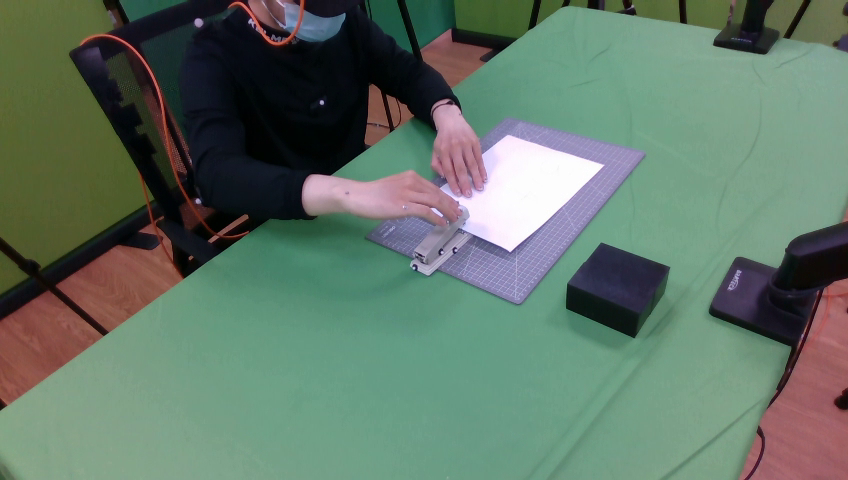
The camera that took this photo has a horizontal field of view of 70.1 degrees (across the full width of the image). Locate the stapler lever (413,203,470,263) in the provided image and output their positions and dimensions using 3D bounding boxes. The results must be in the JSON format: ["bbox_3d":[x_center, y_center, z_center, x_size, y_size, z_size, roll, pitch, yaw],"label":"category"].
[{"bbox_3d":[0.029,-0.013,0.938,0.026,0.040,0.118,24,51,34],"label":"stapler lever"}]

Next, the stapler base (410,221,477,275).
[{"bbox_3d":[0.032,0.004,0.955,0.041,0.024,0.131,24,52,34],"label":"stapler base"}]
